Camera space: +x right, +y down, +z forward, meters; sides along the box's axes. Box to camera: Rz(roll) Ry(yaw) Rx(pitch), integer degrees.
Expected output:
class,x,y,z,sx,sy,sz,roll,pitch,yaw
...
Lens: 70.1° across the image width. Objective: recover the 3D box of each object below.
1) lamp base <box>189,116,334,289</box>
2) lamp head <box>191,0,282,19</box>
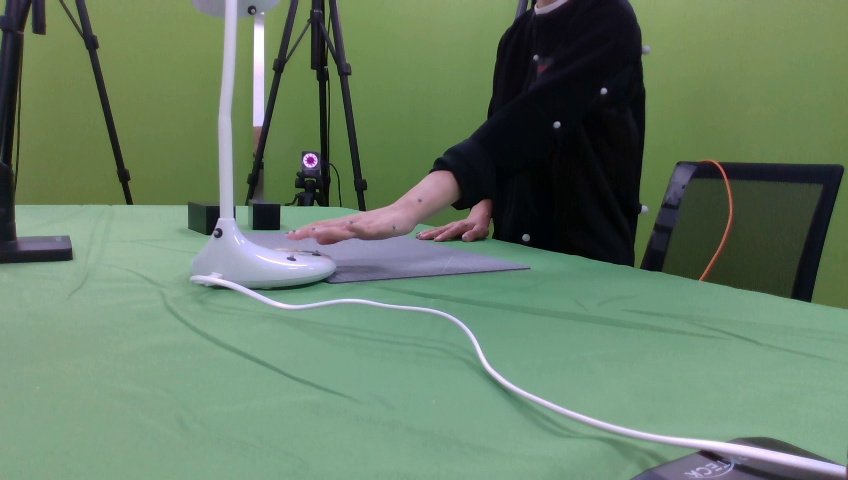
class,x,y,z,sx,sy,sz,roll,pitch,yaw
lamp base,-0.185,-0.044,0.669,0.160,0.180,0.179,3,10,14
lamp head,-0.222,-0.330,0.689,0.112,0.112,0.123,3,-33,-4
